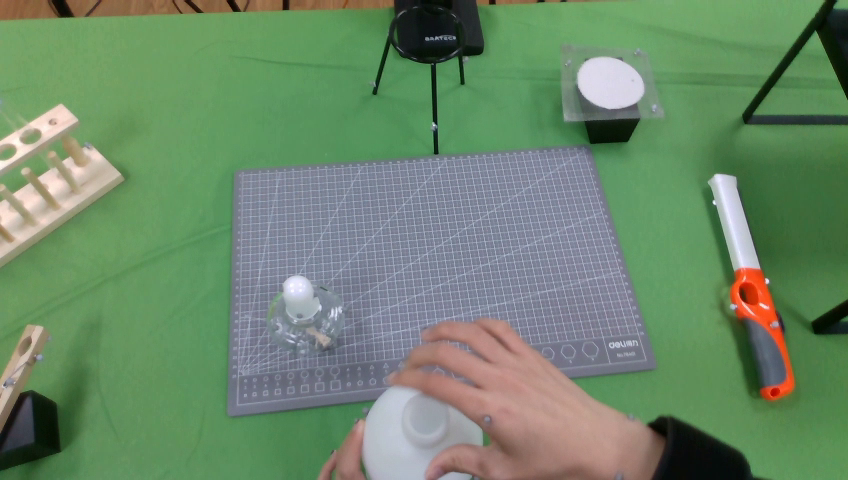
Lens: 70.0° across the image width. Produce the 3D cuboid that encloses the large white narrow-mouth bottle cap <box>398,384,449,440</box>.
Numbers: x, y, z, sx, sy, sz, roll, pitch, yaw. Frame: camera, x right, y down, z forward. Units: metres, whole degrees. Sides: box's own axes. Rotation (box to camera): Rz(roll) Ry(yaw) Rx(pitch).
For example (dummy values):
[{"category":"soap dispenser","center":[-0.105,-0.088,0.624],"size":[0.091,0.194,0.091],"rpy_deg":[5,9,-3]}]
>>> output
[{"category":"large white narrow-mouth bottle cap","center":[0.000,0.124,0.439],"size":[0.038,0.024,0.037],"rpy_deg":[1,62,-2]}]

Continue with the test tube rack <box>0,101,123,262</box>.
[{"category":"test tube rack","center":[-0.466,-0.039,0.657],"size":[0.066,0.086,0.242],"rpy_deg":[40,67,16]}]

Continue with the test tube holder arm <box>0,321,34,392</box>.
[{"category":"test tube holder arm","center":[-0.383,0.118,0.565],"size":[0.010,0.015,0.087],"rpy_deg":[6,63,5]}]

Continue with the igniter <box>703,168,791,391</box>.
[{"category":"igniter","center":[0.367,0.037,0.696],"size":[0.057,0.025,0.274],"rpy_deg":[5,62,-12]}]

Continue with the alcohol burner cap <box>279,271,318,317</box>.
[{"category":"alcohol burner cap","center":[-0.120,0.049,0.571],"size":[0.034,0.048,0.033],"rpy_deg":[0,57,0]}]

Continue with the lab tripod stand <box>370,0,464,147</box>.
[{"category":"lab tripod stand","center":[0.001,-0.210,0.745],"size":[0.148,0.132,0.147],"rpy_deg":[2,63,-4]}]

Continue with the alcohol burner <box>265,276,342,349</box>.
[{"category":"alcohol burner","center":[-0.121,0.065,0.603],"size":[0.078,0.120,0.077],"rpy_deg":[2,61,-4]}]

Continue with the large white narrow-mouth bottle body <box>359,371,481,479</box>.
[{"category":"large white narrow-mouth bottle body","center":[-0.004,0.167,0.514],"size":[0.102,0.196,0.101],"rpy_deg":[1,61,-2]}]

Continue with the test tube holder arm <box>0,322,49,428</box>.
[{"category":"test tube holder arm","center":[-0.385,0.158,0.544],"size":[0.013,0.015,0.177],"rpy_deg":[7,63,6]}]

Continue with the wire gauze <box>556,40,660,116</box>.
[{"category":"wire gauze","center":[0.230,-0.207,0.771],"size":[0.121,0.011,0.124],"rpy_deg":[2,62,-2]}]

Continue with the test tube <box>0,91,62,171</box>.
[{"category":"test tube","center":[-0.430,-0.122,0.645],"size":[0.017,0.151,0.017],"rpy_deg":[0,61,1]}]
